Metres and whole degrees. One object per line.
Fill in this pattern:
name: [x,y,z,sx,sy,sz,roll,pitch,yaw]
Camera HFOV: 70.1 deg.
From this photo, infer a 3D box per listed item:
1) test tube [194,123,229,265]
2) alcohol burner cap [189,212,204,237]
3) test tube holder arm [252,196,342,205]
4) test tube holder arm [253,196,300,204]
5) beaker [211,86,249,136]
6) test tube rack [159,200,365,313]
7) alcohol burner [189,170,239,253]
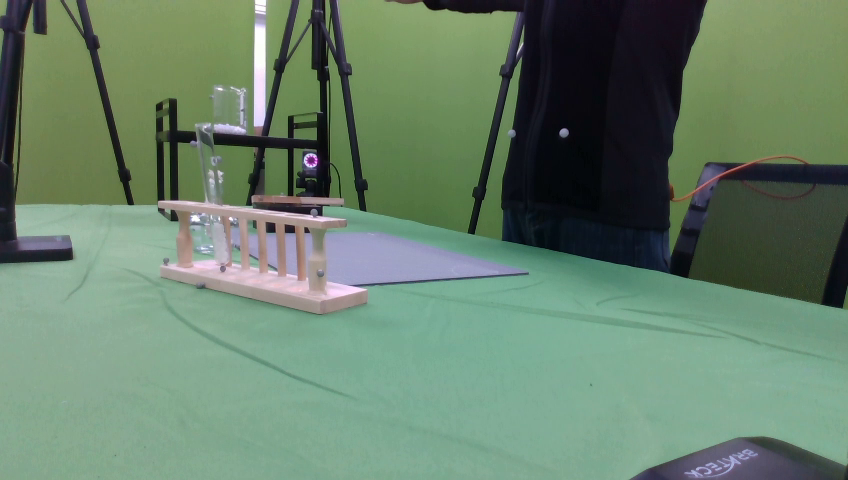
test tube: [-0.218,-0.045,0.624,0.017,0.150,0.017,-2,19,1]
alcohol burner cap: [-0.389,-0.029,1.026,0.034,0.048,0.034,3,8,0]
test tube holder arm: [-0.241,-0.076,1.164,0.179,0.015,0.013,-1,6,-33]
test tube holder arm: [-0.276,-0.075,1.135,0.088,0.015,0.010,-1,6,-32]
beaker: [-0.413,-0.274,1.297,0.074,0.100,0.083,-5,11,-44]
test tube rack: [-0.173,0.009,0.625,0.241,0.085,0.067,7,9,34]
alcohol burner: [-0.303,-0.042,0.871,0.078,0.119,0.078,3,6,0]
